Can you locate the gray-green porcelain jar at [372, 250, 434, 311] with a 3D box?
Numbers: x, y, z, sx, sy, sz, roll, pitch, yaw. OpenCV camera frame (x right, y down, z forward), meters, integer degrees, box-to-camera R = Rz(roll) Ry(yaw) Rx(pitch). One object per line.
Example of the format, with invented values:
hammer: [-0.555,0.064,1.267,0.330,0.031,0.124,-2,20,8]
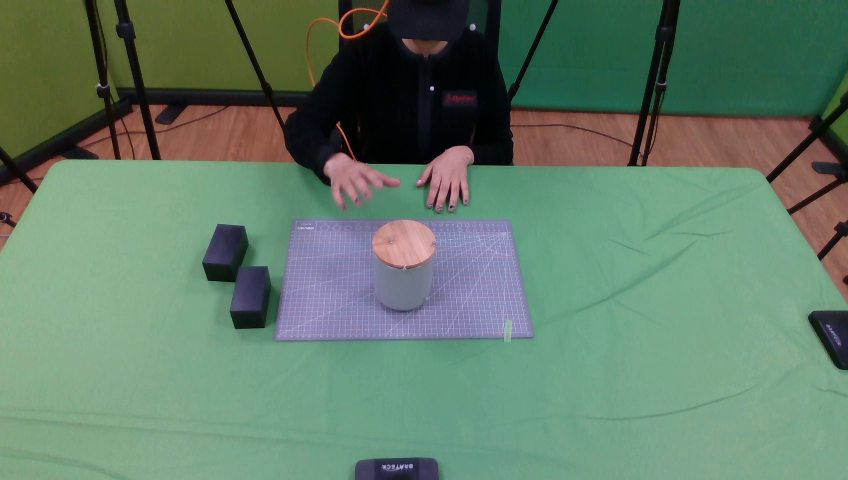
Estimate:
gray-green porcelain jar: [-0.037,0.054,1.067,0.106,0.127,0.105,2,46,-2]

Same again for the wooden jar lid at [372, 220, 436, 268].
wooden jar lid: [-0.034,0.009,1.020,0.108,0.021,0.107,2,47,-2]
